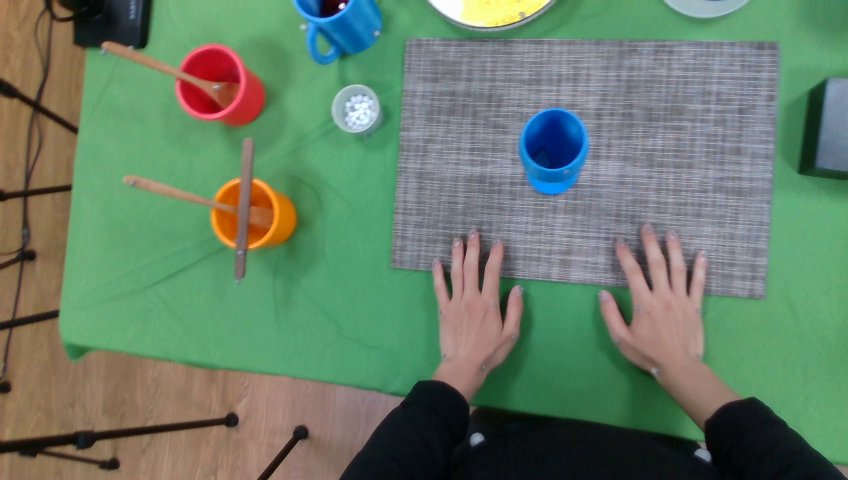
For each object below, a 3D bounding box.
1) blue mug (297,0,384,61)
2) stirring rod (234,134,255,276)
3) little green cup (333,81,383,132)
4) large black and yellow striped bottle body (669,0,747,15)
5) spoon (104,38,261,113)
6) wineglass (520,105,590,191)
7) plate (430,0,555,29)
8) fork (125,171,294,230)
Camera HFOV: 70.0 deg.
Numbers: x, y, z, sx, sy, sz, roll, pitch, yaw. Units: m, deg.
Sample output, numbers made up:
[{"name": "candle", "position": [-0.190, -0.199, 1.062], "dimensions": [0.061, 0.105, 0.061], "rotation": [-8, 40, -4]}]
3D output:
[{"name": "blue mug", "position": [-0.110, -0.281, 0.760], "dimensions": [0.082, 0.106, 0.116], "rotation": [25, 93, 11]}, {"name": "stirring rod", "position": [-0.222, -0.044, 0.749], "dimensions": [0.014, 0.006, 0.176], "rotation": [4, 89, 12]}, {"name": "little green cup", "position": [-0.083, -0.170, 0.785], "dimensions": [0.061, 0.039, 0.061], "rotation": [0, 89, 12]}, {"name": "large black and yellow striped bottle body", "position": [0.324, -0.335, 0.638], "dimensions": [0.130, 0.184, 0.130], "rotation": [0, 88, 11]}, {"name": "spoon", "position": [-0.304, -0.214, 0.775], "dimensions": [0.195, 0.021, 0.041], "rotation": [20, 94, -33]}, {"name": "wineglass", "position": [0.143, -0.096, 0.668], "dimensions": [0.073, 0.173, 0.073], "rotation": [0, 87, 11]}, {"name": "plate", "position": [0.090, -0.364, 0.758], "dimensions": [0.209, 0.038, 0.209], "rotation": [0, 89, 11]}, {"name": "fork", "position": [-0.263, -0.050, 0.760], "dimensions": [0.209, 0.018, 0.028], "rotation": [17, 99, -32]}]
